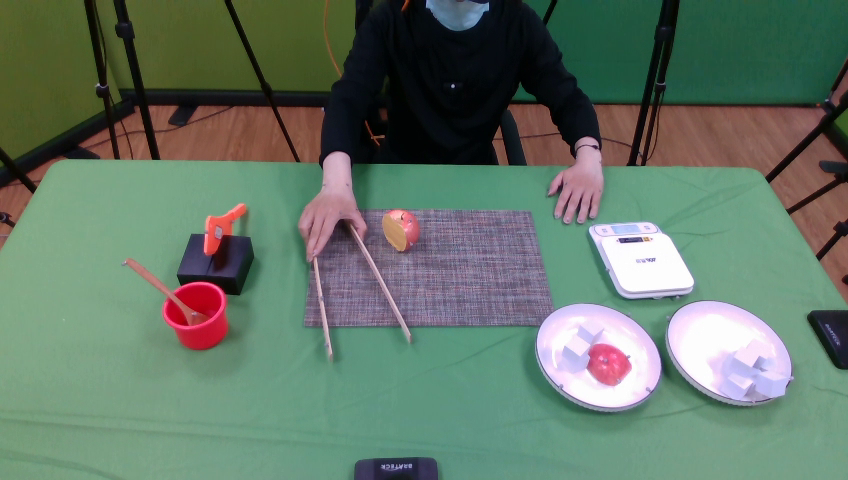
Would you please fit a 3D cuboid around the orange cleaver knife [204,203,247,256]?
[{"bbox_3d":[-0.374,-0.024,1.146,0.012,0.077,0.211,4,14,1],"label":"orange cleaver knife"}]

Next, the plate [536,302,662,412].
[{"bbox_3d":[0.288,0.196,1.016,0.209,0.038,0.208,2,46,-2],"label":"plate"}]

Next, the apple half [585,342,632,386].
[{"bbox_3d":[0.309,0.198,1.008,0.081,0.033,0.081,4,48,-4],"label":"apple half"}]

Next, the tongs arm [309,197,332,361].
[{"bbox_3d":[-0.180,0.056,1.119,0.051,0.026,0.382,-10,47,-11],"label":"tongs arm"}]

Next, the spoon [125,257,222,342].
[{"bbox_3d":[-0.408,0.096,0.990,0.194,0.021,0.041,50,53,-18],"label":"spoon"}]

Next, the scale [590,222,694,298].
[{"bbox_3d":[0.424,0.031,1.189,0.149,0.032,0.199,-3,46,-7],"label":"scale"}]

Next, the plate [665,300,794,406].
[{"bbox_3d":[0.513,0.194,1.034,0.208,0.039,0.206,2,46,-2],"label":"plate"}]

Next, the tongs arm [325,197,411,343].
[{"bbox_3d":[-0.110,0.043,1.138,0.028,0.028,0.385,-21,50,-16],"label":"tongs arm"}]

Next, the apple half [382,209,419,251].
[{"bbox_3d":[-0.039,-0.022,1.175,0.053,0.075,0.080,-27,49,-31],"label":"apple half"}]
